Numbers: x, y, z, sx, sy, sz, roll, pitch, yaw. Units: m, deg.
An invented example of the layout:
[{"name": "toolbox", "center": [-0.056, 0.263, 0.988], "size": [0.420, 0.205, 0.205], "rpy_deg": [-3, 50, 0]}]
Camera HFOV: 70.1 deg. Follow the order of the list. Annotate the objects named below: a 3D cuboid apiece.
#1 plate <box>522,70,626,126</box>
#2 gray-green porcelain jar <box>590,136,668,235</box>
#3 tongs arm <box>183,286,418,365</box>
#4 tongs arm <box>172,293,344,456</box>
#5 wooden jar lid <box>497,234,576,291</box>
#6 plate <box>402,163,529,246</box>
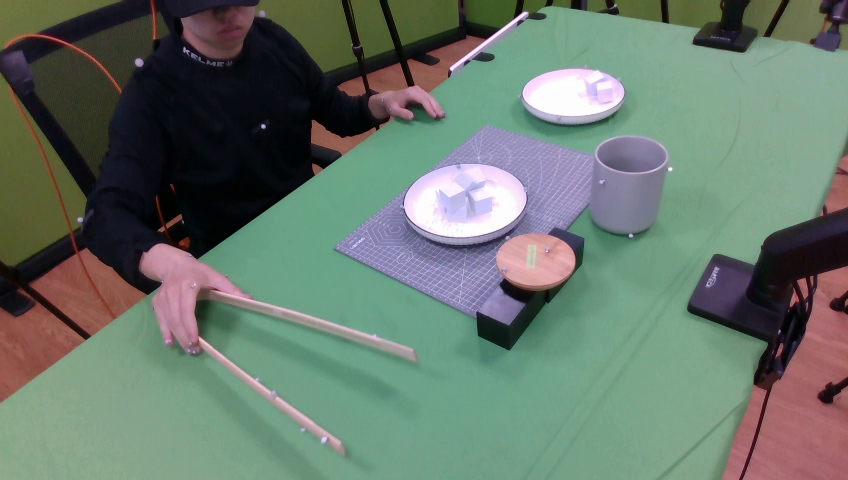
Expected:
[{"name": "plate", "center": [0.308, -0.290, 1.251], "size": [0.207, 0.039, 0.206], "rpy_deg": [-4, 40, 4]}, {"name": "gray-green porcelain jar", "center": [0.314, -0.080, 0.937], "size": [0.106, 0.127, 0.105], "rpy_deg": [-4, 41, 4]}, {"name": "tongs arm", "center": [-0.180, 0.114, 0.826], "size": [0.385, 0.028, 0.028], "rpy_deg": [11, 51, 26]}, {"name": "tongs arm", "center": [-0.223, 0.161, 0.784], "size": [0.381, 0.027, 0.051], "rpy_deg": [22, 53, 34]}, {"name": "wooden jar lid", "center": [0.155, 0.032, 0.834], "size": [0.108, 0.021, 0.108], "rpy_deg": [-5, 40, 5]}, {"name": "plate", "center": [0.069, -0.056, 1.008], "size": [0.209, 0.038, 0.208], "rpy_deg": [-4, 40, 4]}]
